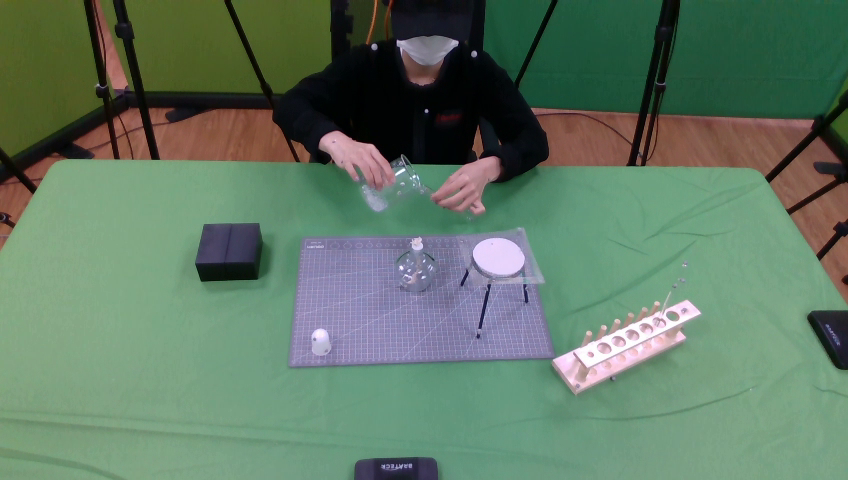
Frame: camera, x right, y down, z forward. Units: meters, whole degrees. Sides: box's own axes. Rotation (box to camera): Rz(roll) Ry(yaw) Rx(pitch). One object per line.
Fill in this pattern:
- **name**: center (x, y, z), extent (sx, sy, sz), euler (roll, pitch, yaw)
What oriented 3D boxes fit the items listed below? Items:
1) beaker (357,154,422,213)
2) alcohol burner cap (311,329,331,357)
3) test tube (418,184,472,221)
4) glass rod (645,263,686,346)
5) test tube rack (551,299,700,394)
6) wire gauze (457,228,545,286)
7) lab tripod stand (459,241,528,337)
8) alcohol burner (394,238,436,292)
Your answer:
- **beaker**: center (-0.064, -0.101, 1.119), extent (0.100, 0.084, 0.073), euler (-29, 43, 10)
- **alcohol burner cap**: center (-0.173, 0.168, 1.004), extent (0.034, 0.048, 0.033), euler (2, 46, -2)
- **test tube**: center (0.043, -0.072, 1.184), extent (0.151, 0.017, 0.017), euler (29, 31, -39)
- **glass rod**: center (0.391, 0.110, 0.986), extent (0.008, 0.201, 0.008), euler (2, 42, -1)
- **test tube rack**: center (0.339, 0.166, 1.021), extent (0.242, 0.085, 0.066), euler (-19, 50, -21)
- **wire gauze**: center (0.126, 0.029, 1.006), extent (0.125, 0.011, 0.120), euler (-4, 46, -10)
- **lab tripod stand**: center (0.122, 0.075, 1.054), extent (0.148, 0.132, 0.147), euler (3, 44, -3)
- **alcohol burner**: center (-0.016, 0.038, 1.093), extent (0.078, 0.119, 0.077), euler (2, 48, -2)
